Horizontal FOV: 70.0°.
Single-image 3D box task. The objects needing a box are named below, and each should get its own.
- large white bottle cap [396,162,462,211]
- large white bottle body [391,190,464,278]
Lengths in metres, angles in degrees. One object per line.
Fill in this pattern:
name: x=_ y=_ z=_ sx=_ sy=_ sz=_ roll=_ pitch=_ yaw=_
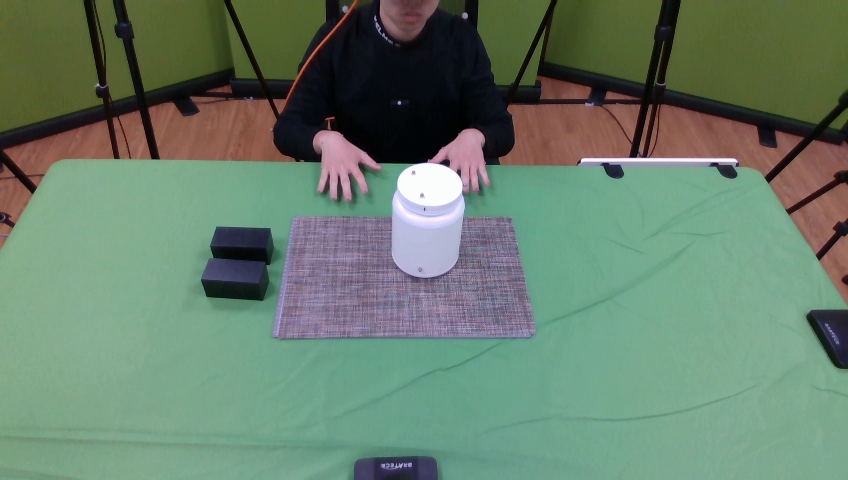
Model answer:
large white bottle cap: x=0.009 y=-0.094 z=1.053 sx=0.115 sy=0.018 sz=0.114 roll=2 pitch=46 yaw=-2
large white bottle body: x=0.005 y=-0.034 z=1.114 sx=0.131 sy=0.185 sz=0.130 roll=2 pitch=46 yaw=-2
